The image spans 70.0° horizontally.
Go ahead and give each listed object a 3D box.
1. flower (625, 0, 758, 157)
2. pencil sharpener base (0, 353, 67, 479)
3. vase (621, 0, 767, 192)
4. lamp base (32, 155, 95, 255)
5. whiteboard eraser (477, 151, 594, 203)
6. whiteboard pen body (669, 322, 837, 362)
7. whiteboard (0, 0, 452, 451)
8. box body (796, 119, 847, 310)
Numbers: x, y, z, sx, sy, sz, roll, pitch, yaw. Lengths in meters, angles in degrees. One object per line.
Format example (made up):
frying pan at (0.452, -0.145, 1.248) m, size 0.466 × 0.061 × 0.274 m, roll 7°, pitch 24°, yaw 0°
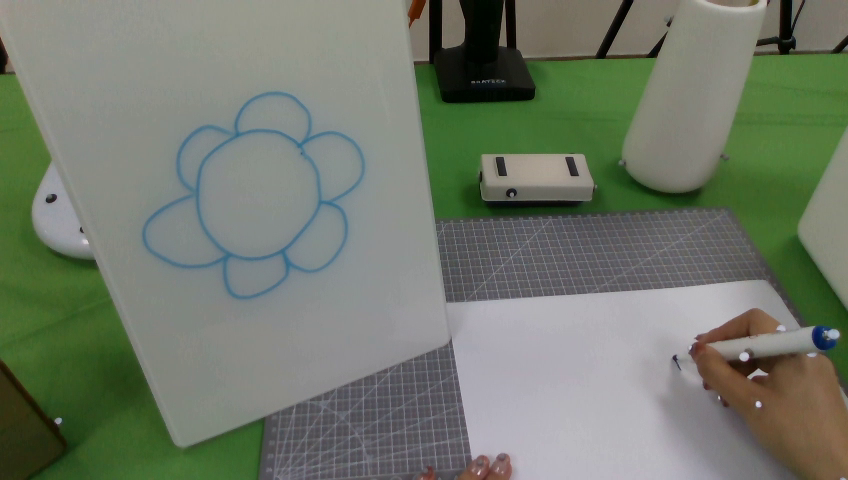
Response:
flower at (0.278, -0.194, 0.532) m, size 0.044 × 0.363 × 0.038 m, roll -22°, pitch 66°, yaw -31°
pencil sharpener base at (-0.294, 0.104, 0.389) m, size 0.076 × 0.108 × 0.061 m, roll 32°, pitch 52°, yaw 28°
vase at (0.265, -0.145, 0.599) m, size 0.098 × 0.202 × 0.097 m, roll 2°, pitch 44°, yaw -1°
lamp base at (-0.304, -0.103, 0.548) m, size 0.178 × 0.182 × 0.160 m, roll 27°, pitch 49°, yaw 26°
whiteboard eraser at (0.113, -0.064, 0.623) m, size 0.113 × 0.042 × 0.055 m, roll -2°, pitch 42°, yaw -2°
whiteboard pen body at (0.221, 0.075, 0.426) m, size 0.017 × 0.141 × 0.017 m, roll 5°, pitch 73°, yaw -17°
whiteboard at (-0.121, -0.043, 0.446) m, size 0.218 × 0.308 × 0.142 m, roll -18°, pitch 28°, yaw -18°
box body at (0.489, 0.046, 0.439) m, size 0.254 × 0.162 × 0.360 m, roll -2°, pitch 45°, yaw -3°
